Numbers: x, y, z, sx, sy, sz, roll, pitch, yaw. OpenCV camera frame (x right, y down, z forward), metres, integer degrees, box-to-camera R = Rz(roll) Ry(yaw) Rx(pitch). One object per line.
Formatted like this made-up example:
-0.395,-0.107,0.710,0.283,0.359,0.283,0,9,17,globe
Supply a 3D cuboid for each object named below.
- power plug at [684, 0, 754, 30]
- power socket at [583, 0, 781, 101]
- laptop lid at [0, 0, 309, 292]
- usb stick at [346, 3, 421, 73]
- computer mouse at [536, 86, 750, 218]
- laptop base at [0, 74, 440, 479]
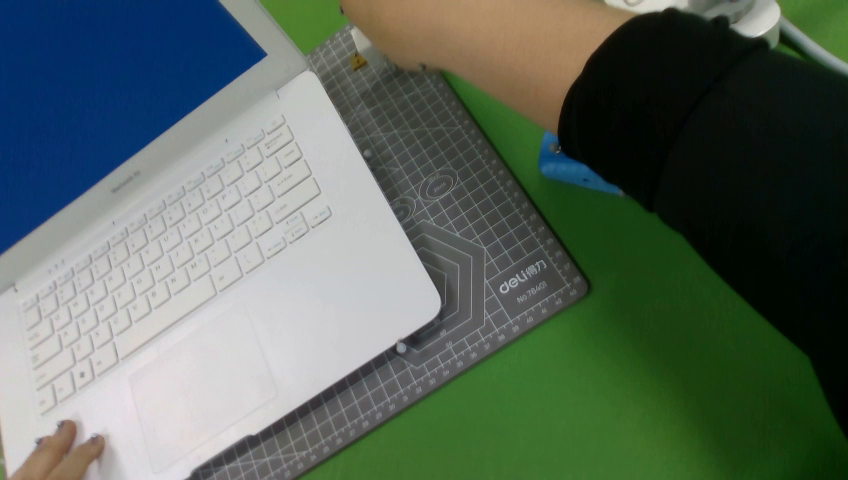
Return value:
0.184,-0.144,0.341,0.072,0.053,0.035,-23,65,13,power plug
0.138,-0.180,0.397,0.072,0.033,0.224,-32,61,10,power socket
-0.285,-0.095,0.417,0.357,0.244,0.013,-35,48,8,laptop lid
-0.034,-0.141,0.432,0.059,0.027,0.021,-26,66,19,usb stick
0.122,-0.056,0.354,0.116,0.041,0.062,19,81,33,computer mouse
-0.180,0.054,0.450,0.354,0.023,0.233,-34,64,7,laptop base
